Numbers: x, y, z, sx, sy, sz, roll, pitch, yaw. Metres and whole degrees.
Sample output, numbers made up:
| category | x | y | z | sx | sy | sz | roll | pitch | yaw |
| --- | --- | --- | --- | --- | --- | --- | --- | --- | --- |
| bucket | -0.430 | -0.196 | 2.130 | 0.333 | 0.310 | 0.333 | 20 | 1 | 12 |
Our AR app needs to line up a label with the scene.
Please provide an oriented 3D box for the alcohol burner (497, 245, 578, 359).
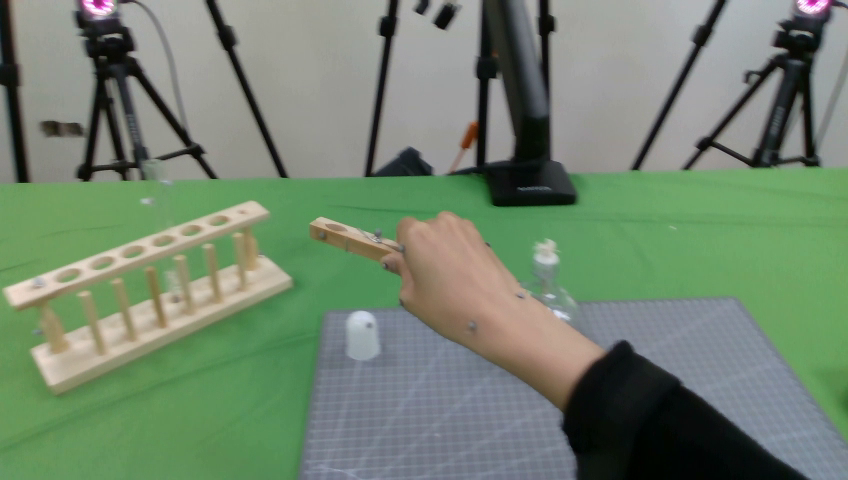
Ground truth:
| category | x | y | z | sx | sy | sz | roll | pitch | yaw |
| --- | --- | --- | --- | --- | --- | --- | --- | --- | --- |
| alcohol burner | 0.109 | 0.054 | 0.575 | 0.078 | 0.120 | 0.077 | 1 | 35 | 0 |

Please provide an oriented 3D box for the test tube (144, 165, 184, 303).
| category | x | y | z | sx | sy | sz | roll | pitch | yaw |
| --- | --- | --- | --- | --- | --- | --- | --- | --- | --- |
| test tube | -0.258 | -0.002 | 0.603 | 0.017 | 0.151 | 0.017 | 2 | 28 | -1 |

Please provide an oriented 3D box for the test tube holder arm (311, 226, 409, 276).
| category | x | y | z | sx | sy | sz | roll | pitch | yaw |
| --- | --- | --- | --- | --- | --- | --- | --- | --- | --- |
| test tube holder arm | -0.048 | 0.008 | 0.462 | 0.087 | 0.015 | 0.010 | 17 | 38 | 21 |

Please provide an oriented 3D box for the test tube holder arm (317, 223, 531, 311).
| category | x | y | z | sx | sy | sz | roll | pitch | yaw |
| --- | --- | --- | --- | --- | --- | --- | --- | --- | --- |
| test tube holder arm | -0.006 | 0.018 | 0.450 | 0.177 | 0.015 | 0.013 | 17 | 38 | 21 |

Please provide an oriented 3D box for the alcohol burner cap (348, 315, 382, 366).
| category | x | y | z | sx | sy | sz | roll | pitch | yaw |
| --- | --- | --- | --- | --- | --- | --- | --- | --- | --- |
| alcohol burner cap | -0.058 | 0.093 | 0.581 | 0.034 | 0.048 | 0.033 | 0 | 33 | 0 |

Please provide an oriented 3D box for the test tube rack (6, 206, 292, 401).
| category | x | y | z | sx | sy | sz | roll | pitch | yaw |
| --- | --- | --- | --- | --- | --- | --- | --- | --- | --- |
| test tube rack | -0.260 | 0.053 | 0.608 | 0.243 | 0.086 | 0.066 | -26 | 41 | -34 |
